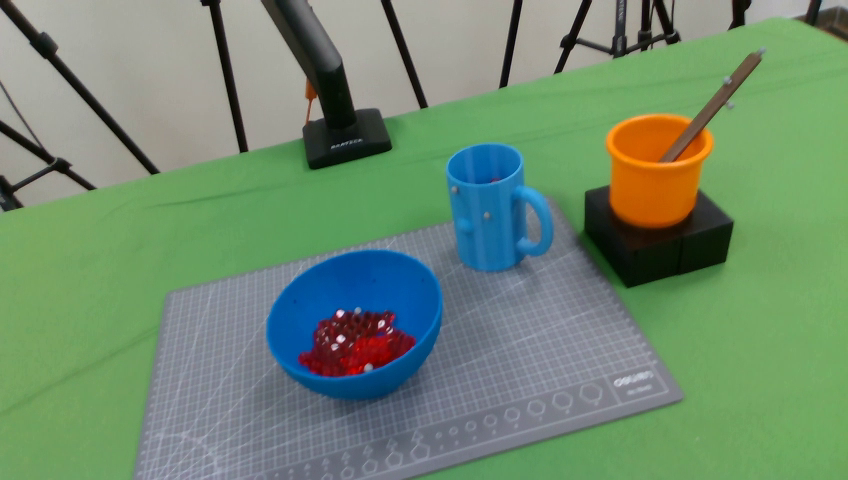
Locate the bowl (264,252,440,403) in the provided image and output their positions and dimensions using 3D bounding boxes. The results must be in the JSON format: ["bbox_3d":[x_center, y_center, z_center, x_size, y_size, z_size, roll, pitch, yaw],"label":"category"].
[{"bbox_3d":[-0.055,0.088,0.530,0.151,0.077,0.150,-6,39,5],"label":"bowl"}]

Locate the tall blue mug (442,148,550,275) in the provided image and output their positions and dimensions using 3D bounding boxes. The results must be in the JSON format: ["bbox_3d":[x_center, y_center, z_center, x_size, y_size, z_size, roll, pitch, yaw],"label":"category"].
[{"bbox_3d":[0.078,-0.027,0.616,0.107,0.109,0.077,3,40,17],"label":"tall blue mug"}]

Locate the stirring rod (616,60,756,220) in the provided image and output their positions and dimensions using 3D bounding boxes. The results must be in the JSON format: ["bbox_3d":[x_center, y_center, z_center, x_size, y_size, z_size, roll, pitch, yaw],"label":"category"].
[{"bbox_3d":[0.237,-0.089,0.556,0.176,0.006,0.014,-53,37,16],"label":"stirring rod"}]
